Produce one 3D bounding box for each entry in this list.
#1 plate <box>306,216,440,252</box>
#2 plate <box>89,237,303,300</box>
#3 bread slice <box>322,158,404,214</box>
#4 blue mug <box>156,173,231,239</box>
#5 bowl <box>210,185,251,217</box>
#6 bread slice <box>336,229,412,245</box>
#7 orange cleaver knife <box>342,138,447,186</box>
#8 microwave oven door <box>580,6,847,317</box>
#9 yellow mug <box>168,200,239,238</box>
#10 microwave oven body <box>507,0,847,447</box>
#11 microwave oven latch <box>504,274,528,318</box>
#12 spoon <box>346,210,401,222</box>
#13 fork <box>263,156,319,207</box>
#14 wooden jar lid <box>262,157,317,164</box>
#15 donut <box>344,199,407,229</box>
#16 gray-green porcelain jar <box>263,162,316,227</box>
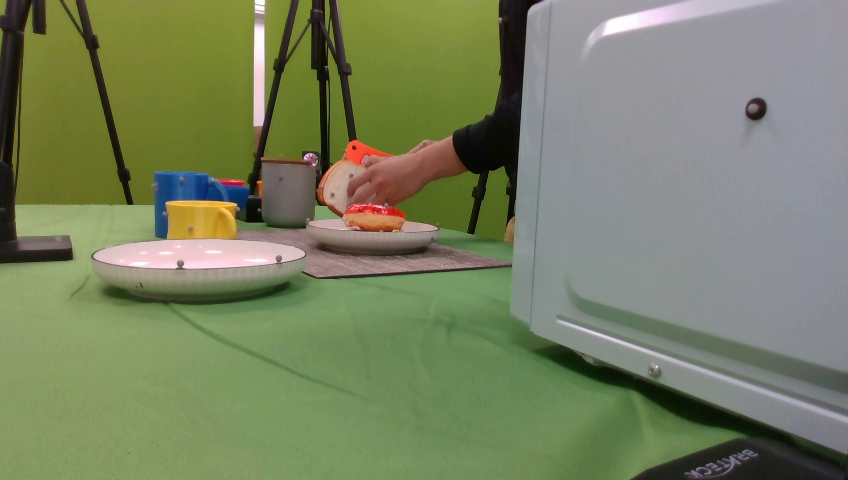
[{"bbox_3d":[-0.079,-0.011,0.950,0.209,0.038,0.209,2,8,0],"label":"plate"},{"bbox_3d":[-0.233,0.029,0.637,0.208,0.039,0.207,2,7,0],"label":"plate"},{"bbox_3d":[-0.116,-0.085,1.098,0.135,0.107,0.018,23,-7,-19],"label":"bread slice"},{"bbox_3d":[-0.381,-0.057,1.004,0.117,0.106,0.082,0,8,-12],"label":"blue mug"},{"bbox_3d":[-0.408,-0.064,1.155,0.151,0.077,0.151,2,8,0],"label":"bowl"},{"bbox_3d":[-0.074,-0.006,0.938,0.105,0.019,0.131,-2,5,-19],"label":"bread slice"},{"bbox_3d":[-0.056,-0.139,1.135,0.212,0.077,0.012,7,-6,-22],"label":"orange cleaver knife"},{"bbox_3d":[0.295,-0.067,0.570,0.358,0.243,0.039,-3,8,-31],"label":"microwave oven door"},{"bbox_3d":[-0.319,-0.023,0.904,0.130,0.064,0.100,9,11,36],"label":"yellow mug"},{"bbox_3d":[0.331,-0.042,0.425,0.444,0.260,0.324,-2,8,-31],"label":"microwave oven body"},{"bbox_3d":[0.100,0.041,0.471,0.079,0.029,0.030,-1,8,-28],"label":"microwave oven latch"},{"bbox_3d":[-0.121,-0.060,1.400,0.042,0.021,0.192,-28,25,-37],"label":"spoon"},{"bbox_3d":[-0.331,-0.144,1.505,0.207,0.018,0.028,-42,-20,22],"label":"fork"},{"bbox_3d":[-0.269,-0.154,1.208,0.108,0.020,0.108,3,4,0],"label":"wooden jar lid"},{"bbox_3d":[-0.076,-0.039,0.948,0.099,0.048,0.099,2,4,0],"label":"donut"},{"bbox_3d":[-0.271,-0.092,1.217,0.106,0.126,0.106,2,7,0],"label":"gray-green porcelain jar"}]
